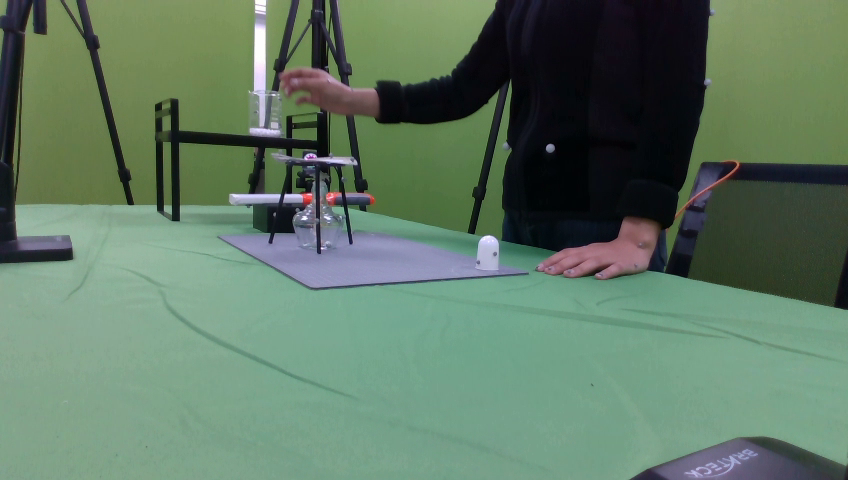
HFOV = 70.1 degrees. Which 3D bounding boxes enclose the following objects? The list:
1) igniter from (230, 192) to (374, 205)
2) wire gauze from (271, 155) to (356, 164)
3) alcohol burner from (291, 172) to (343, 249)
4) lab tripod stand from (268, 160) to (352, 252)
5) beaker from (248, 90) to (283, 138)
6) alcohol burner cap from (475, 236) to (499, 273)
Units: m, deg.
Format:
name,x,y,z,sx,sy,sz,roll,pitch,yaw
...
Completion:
name,x,y,z,sx,sy,sz,roll,pitch,yaw
igniter,-0.228,-0.079,1.164,0.278,0.025,0.057,-2,15,-30
wire gauze,-0.167,-0.122,0.917,0.125,0.011,0.121,0,8,-9
alcohol burner,-0.162,-0.045,0.922,0.078,0.119,0.078,5,7,0
lab tripod stand,-0.171,-0.055,0.921,0.148,0.131,0.148,1,8,0
beaker,-0.354,-0.278,1.340,0.074,0.100,0.084,6,8,26
alcohol burner cap,0.084,0.018,0.799,0.034,0.048,0.034,2,6,0
